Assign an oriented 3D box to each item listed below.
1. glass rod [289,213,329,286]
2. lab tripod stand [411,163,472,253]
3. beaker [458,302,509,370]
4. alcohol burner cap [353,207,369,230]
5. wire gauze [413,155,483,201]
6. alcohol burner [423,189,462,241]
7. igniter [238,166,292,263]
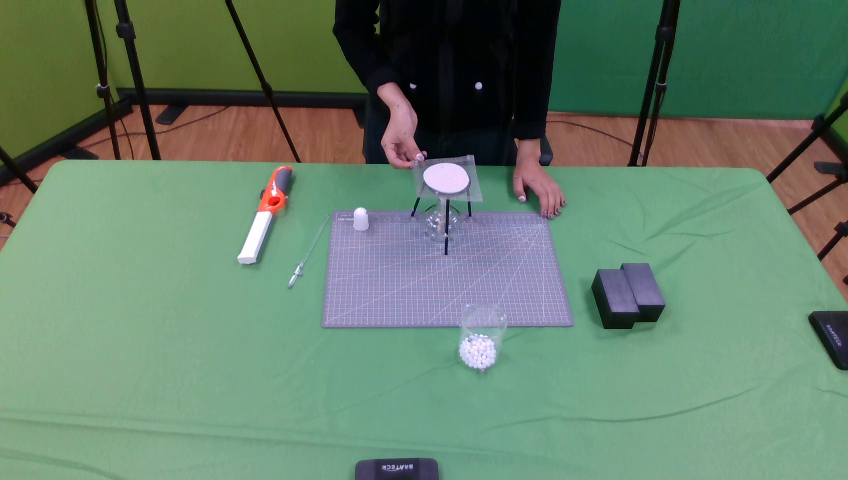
[{"bbox_3d":[-0.221,0.014,1.179,0.008,0.008,0.199,12,47,9],"label":"glass rod"},{"bbox_3d":[0.043,-0.069,1.187,0.148,0.132,0.147,3,47,-3],"label":"lab tripod stand"},{"bbox_3d":[0.092,0.159,0.999,0.083,0.101,0.074,35,53,28],"label":"beaker"},{"bbox_3d":[-0.127,-0.046,1.215,0.034,0.048,0.033,2,49,-2],"label":"alcohol burner cap"},{"bbox_3d":[0.043,-0.117,1.139,0.125,0.011,0.120,-1,47,-4],"label":"wire gauze"},{"bbox_3d":[0.037,-0.055,1.186,0.078,0.120,0.077,2,48,-2],"label":"alcohol burner"},{"bbox_3d":[-0.318,-0.060,1.229,0.057,0.025,0.275,-2,45,10],"label":"igniter"}]
